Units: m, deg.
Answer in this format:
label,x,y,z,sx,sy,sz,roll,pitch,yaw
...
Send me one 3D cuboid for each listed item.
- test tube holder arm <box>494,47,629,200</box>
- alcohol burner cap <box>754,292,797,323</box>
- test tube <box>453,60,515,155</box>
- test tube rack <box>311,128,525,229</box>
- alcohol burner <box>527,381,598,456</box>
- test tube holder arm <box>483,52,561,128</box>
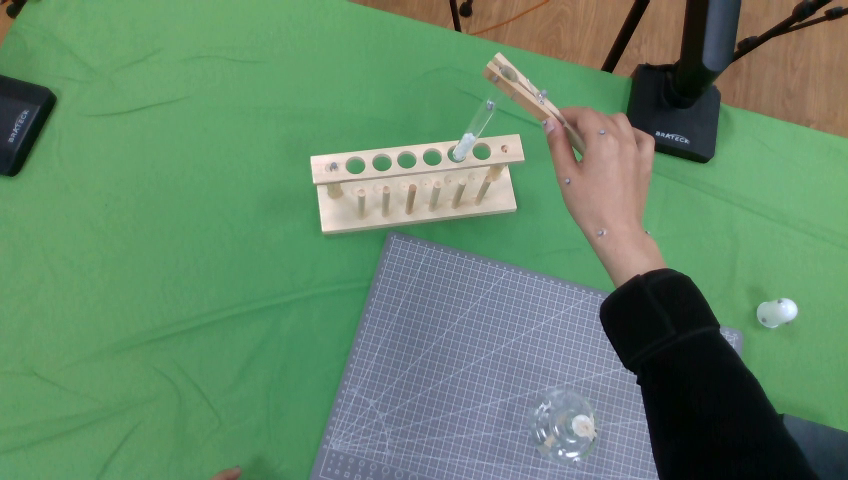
label,x,y,z,sx,sy,sz,roll,pitch,yaw
test tube holder arm,0.124,-0.107,0.554,0.178,0.015,0.013,49,51,3
alcohol burner cap,0.428,0.080,0.733,0.034,0.048,0.033,2,72,-4
test tube,0.057,-0.129,0.615,0.017,0.151,0.017,6,66,-13
test tube rack,-0.006,-0.072,0.719,0.243,0.085,0.066,-7,73,-7
alcohol burner,0.150,0.187,0.638,0.078,0.119,0.077,1,74,-5
test tube holder arm,0.090,-0.136,0.551,0.088,0.015,0.010,41,50,-4
